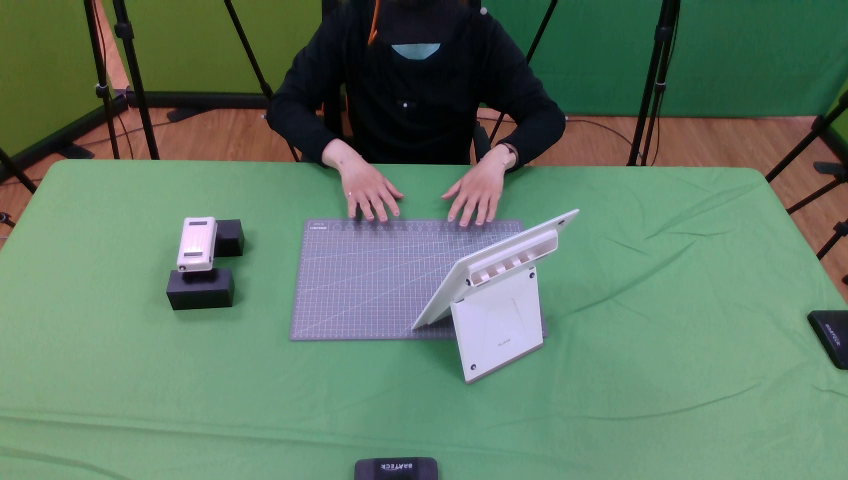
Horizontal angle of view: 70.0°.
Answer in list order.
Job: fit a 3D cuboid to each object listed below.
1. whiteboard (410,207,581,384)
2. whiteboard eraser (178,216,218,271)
[{"bbox_3d":[0.131,0.108,0.946,0.217,0.306,0.143,-21,72,-23],"label":"whiteboard"},{"bbox_3d":[-0.400,0.008,1.078,0.056,0.042,0.112,-1,49,-10],"label":"whiteboard eraser"}]
